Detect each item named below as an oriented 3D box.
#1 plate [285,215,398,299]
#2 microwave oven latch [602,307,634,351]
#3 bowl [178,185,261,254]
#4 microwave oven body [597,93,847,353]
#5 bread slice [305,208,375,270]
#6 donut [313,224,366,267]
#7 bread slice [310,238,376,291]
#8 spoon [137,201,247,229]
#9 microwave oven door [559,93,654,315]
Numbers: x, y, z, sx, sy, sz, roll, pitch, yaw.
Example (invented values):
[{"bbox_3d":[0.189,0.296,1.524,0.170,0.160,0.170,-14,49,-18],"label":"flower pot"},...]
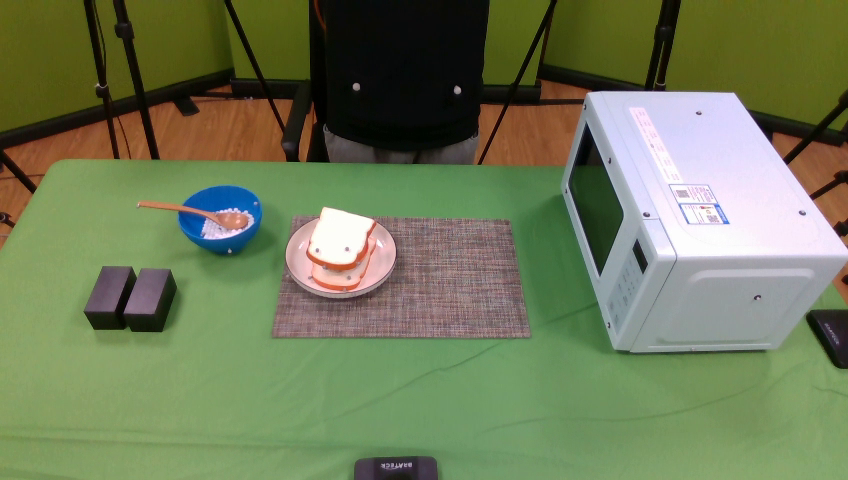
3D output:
[{"bbox_3d":[-0.154,0.034,1.140,0.208,0.039,0.206,2,46,-2],"label":"plate"},{"bbox_3d":[0.332,0.153,1.044,0.030,0.029,0.078,-1,45,-4],"label":"microwave oven latch"},{"bbox_3d":[-0.383,-0.027,1.158,0.151,0.077,0.150,2,46,-2],"label":"bowl"},{"bbox_3d":[0.475,-0.041,1.110,0.326,0.261,0.438,-1,45,-4],"label":"microwave oven body"},{"bbox_3d":[-0.154,-0.001,1.095,0.105,0.019,0.131,15,48,1],"label":"bread slice"},{"bbox_3d":[-0.155,0.011,1.120,0.099,0.048,0.098,0,42,0],"label":"donut"},{"bbox_3d":[-0.154,0.039,1.135,0.107,0.018,0.133,7,46,3],"label":"bread slice"},{"bbox_3d":[-0.431,-0.052,1.134,0.194,0.022,0.041,14,45,-22],"label":"spoon"},{"bbox_3d":[0.327,-0.074,1.123,0.039,0.245,0.353,-1,46,-5],"label":"microwave oven door"}]
